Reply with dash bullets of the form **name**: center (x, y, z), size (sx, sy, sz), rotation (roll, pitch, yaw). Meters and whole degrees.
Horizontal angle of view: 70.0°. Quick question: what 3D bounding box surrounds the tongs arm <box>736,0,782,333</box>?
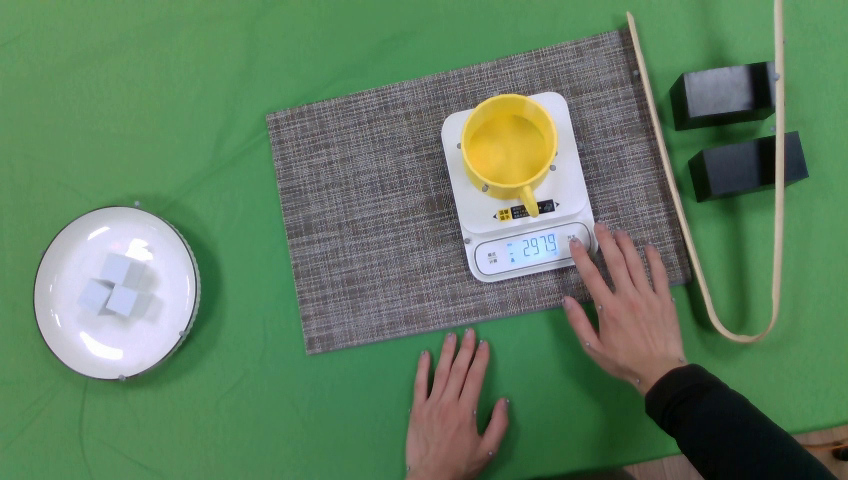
- **tongs arm**: center (0.346, -0.095, 0.630), size (0.050, 0.027, 0.384), rotation (-2, 91, 33)

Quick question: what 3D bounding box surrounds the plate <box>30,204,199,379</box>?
- **plate**: center (-0.368, 0.062, 0.733), size (0.207, 0.039, 0.207), rotation (-1, 85, 6)

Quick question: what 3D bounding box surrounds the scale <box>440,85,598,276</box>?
- **scale**: center (0.106, -0.068, 0.692), size (0.148, 0.031, 0.200), rotation (-13, 84, 6)

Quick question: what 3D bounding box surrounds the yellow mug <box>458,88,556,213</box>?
- **yellow mug**: center (0.093, -0.090, 0.648), size (0.100, 0.064, 0.130), rotation (-23, 84, 3)

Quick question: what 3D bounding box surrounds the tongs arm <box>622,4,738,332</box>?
- **tongs arm**: center (0.280, -0.085, 0.677), size (0.028, 0.028, 0.386), rotation (-17, 82, 29)
